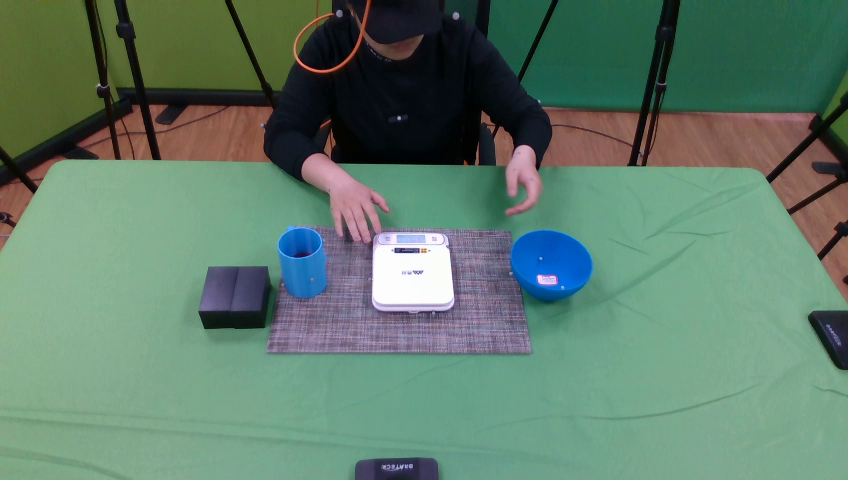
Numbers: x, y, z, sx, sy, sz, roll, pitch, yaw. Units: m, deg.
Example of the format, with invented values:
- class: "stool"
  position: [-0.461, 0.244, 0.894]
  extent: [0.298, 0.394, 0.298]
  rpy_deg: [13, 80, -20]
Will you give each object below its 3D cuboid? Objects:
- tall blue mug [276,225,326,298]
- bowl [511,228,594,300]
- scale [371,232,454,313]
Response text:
- class: "tall blue mug"
  position: [-0.228, 0.033, 1.083]
  extent: [0.107, 0.108, 0.077]
  rpy_deg: [30, 53, 23]
- class: "bowl"
  position: [0.230, 0.058, 1.118]
  extent: [0.151, 0.077, 0.150]
  rpy_deg: [2, 46, -2]
- class: "scale"
  position: [-0.023, 0.051, 1.134]
  extent: [0.149, 0.032, 0.199]
  rpy_deg: [1, 46, -4]
